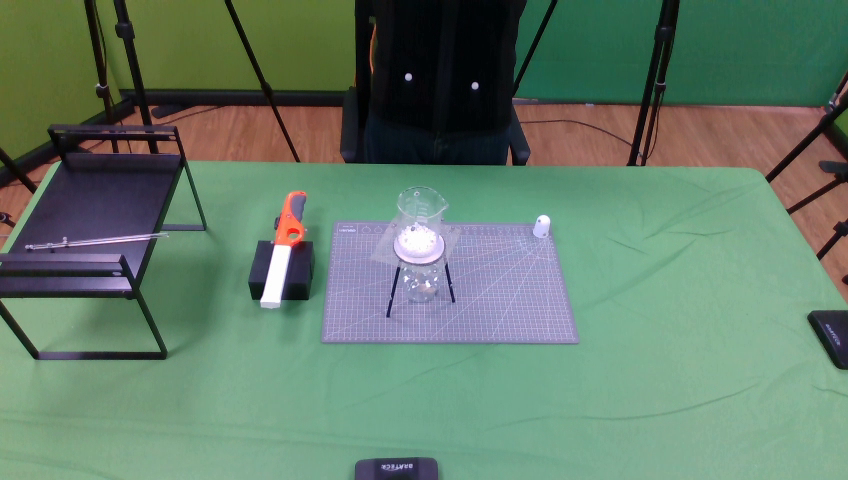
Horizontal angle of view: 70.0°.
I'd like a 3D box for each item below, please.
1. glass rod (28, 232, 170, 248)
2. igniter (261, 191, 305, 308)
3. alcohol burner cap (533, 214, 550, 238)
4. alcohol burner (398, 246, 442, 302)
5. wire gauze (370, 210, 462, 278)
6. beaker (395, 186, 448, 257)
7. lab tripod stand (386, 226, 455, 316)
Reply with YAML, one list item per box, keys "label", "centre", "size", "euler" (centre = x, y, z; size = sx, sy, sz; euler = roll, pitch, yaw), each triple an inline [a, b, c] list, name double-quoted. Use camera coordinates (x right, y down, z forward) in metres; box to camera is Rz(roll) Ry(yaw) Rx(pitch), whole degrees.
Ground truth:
- label: "glass rod"
  centre: [-0.491, -0.001, 0.919]
  size: [0.200, 0.008, 0.008]
  euler: [-5, 47, -10]
- label: "igniter"
  centre: [-0.255, 0.007, 1.104]
  size: [0.057, 0.025, 0.275]
  euler: [5, 47, -4]
- label: "alcohol burner cap"
  centre: [0.241, -0.031, 1.228]
  size: [0.034, 0.048, 0.033]
  euler: [1, 46, -1]
- label: "alcohol burner"
  centre: [-0.006, 0.055, 1.078]
  size: [0.078, 0.119, 0.077]
  euler: [3, 44, -3]
- label: "wire gauze"
  centre: [-0.012, 0.007, 1.019]
  size: [0.121, 0.011, 0.124]
  euler: [16, 51, 13]
- label: "beaker"
  centre: [-0.007, -0.027, 0.984]
  size: [0.084, 0.101, 0.073]
  euler: [1, 48, -4]
- label: "lab tripod stand"
  centre: [-0.013, 0.054, 1.064]
  size: [0.148, 0.132, 0.147]
  euler: [2, 48, -2]
